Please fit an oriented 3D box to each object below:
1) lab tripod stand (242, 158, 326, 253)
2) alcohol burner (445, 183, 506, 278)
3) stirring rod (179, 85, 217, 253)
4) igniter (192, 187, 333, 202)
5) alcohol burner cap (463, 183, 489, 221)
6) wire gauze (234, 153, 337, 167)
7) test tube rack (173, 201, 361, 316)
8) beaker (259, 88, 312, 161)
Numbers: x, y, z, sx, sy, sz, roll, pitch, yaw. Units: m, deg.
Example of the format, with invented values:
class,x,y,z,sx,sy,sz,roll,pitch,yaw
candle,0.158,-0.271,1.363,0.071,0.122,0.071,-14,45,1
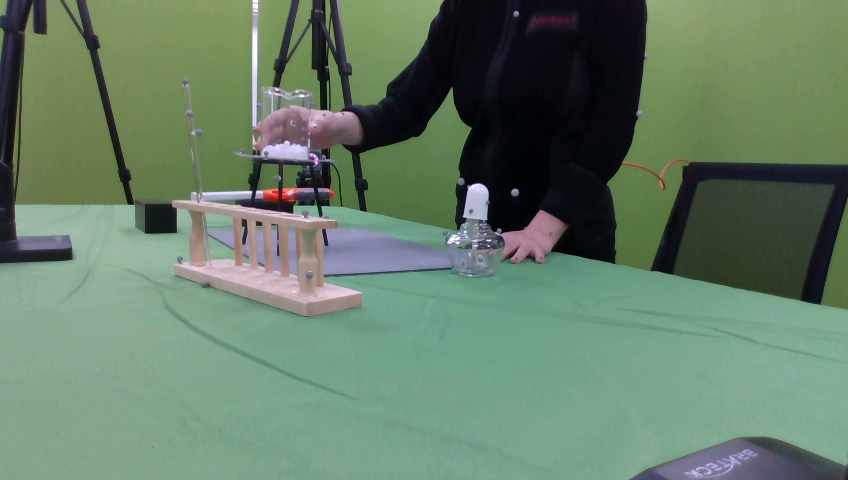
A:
class,x,y,z,sx,sy,sz,roll,pitch,yaw
lab tripod stand,-0.207,-0.054,0.895,0.148,0.131,0.148,3,5,0
alcohol burner,0.066,-0.013,0.770,0.078,0.119,0.078,0,7,0
stirring rod,-0.236,-0.073,0.634,0.006,0.176,0.014,0,9,41
igniter,-0.316,-0.090,1.213,0.278,0.025,0.057,-5,12,-31
alcohol burner cap,0.067,-0.048,0.765,0.034,0.048,0.034,5,5,0
wire gauze,-0.205,-0.118,0.887,0.122,0.011,0.124,2,4,-32
test tube rack,-0.169,0.010,0.622,0.241,0.085,0.067,9,10,41
beaker,-0.201,-0.165,0.876,0.074,0.100,0.083,1,8,-18
